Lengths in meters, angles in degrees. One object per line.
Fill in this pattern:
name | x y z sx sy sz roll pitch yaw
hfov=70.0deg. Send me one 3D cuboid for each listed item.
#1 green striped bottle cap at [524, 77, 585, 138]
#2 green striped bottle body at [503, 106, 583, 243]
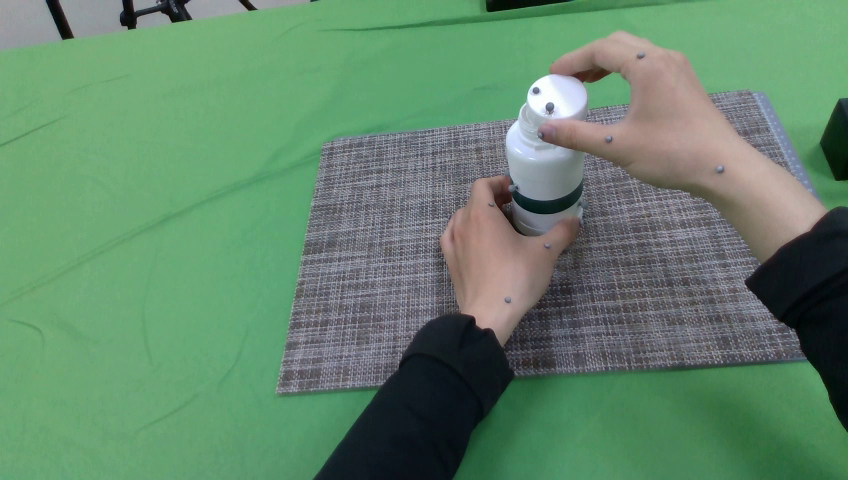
green striped bottle cap | 0.095 -0.097 0.442 0.044 0.020 0.044 -4 60 7
green striped bottle body | 0.100 -0.057 0.506 0.063 0.120 0.062 -6 49 7
